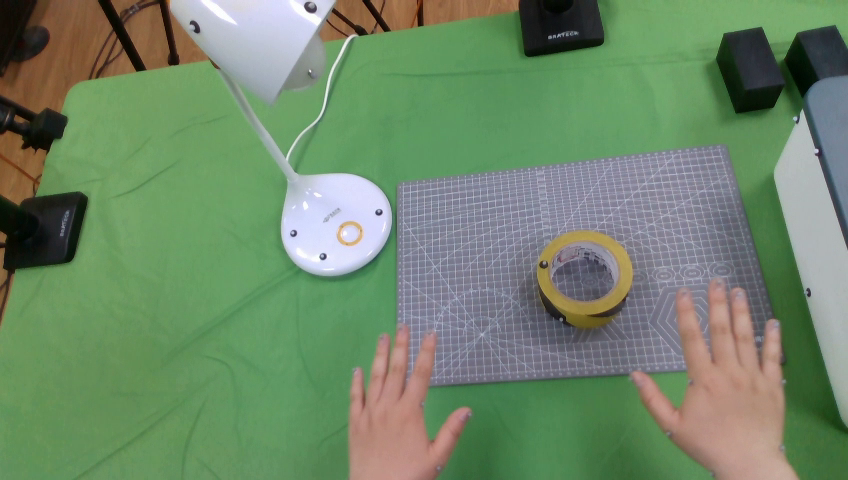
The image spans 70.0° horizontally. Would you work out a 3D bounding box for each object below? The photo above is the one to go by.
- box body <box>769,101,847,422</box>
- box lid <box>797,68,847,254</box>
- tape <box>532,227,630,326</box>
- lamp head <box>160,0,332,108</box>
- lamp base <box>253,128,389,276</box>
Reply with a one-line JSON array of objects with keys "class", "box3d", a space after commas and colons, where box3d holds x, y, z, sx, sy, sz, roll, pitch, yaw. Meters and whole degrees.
[{"class": "box body", "box3d": [0.542, 0.008, 0.626, 0.254, 0.162, 0.361, -5, 64, 9]}, {"class": "box lid", "box3d": [0.529, -0.026, 0.562, 0.263, 0.015, 0.368, -5, 64, 9]}, {"class": "tape", "box3d": [0.191, 0.044, 0.740, 0.117, 0.053, 0.116, -4, 64, 9]}, {"class": "lamp head", "box3d": [-0.157, -0.190, 0.519, 0.123, 0.112, 0.112, 29, 70, -13]}, {"class": "lamp base", "box3d": [-0.152, -0.062, 0.790, 0.178, 0.182, 0.160, 32, 74, 26]}]
